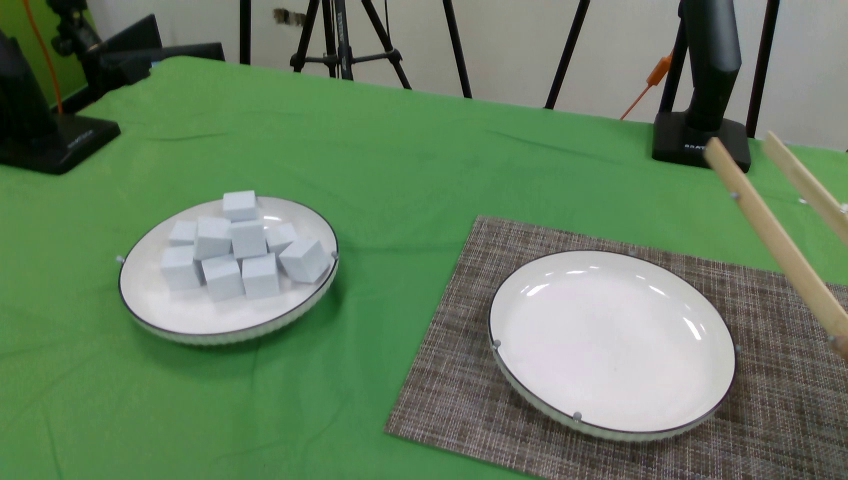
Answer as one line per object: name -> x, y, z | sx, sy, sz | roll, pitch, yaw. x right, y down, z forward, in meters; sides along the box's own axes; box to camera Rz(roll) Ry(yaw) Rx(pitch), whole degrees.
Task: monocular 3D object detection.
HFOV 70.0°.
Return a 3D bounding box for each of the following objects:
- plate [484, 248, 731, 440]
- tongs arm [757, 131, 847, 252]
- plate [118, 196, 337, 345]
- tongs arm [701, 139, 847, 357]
plate -> 0.156, 0.088, 0.536 | 0.208, 0.039, 0.205 | 0, 40, 0
tongs arm -> 0.353, 0.042, 0.473 | 0.051, 0.027, 0.380 | -10, 48, -8
plate -> -0.190, 0.030, 0.608 | 0.209, 0.038, 0.207 | 1, 40, 0
tongs arm -> 0.318, 0.047, 0.470 | 0.028, 0.028, 0.383 | -7, 48, -10
